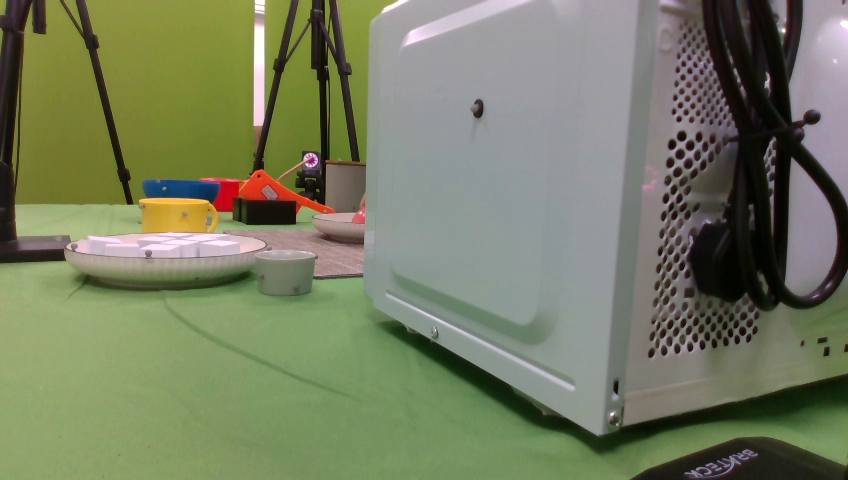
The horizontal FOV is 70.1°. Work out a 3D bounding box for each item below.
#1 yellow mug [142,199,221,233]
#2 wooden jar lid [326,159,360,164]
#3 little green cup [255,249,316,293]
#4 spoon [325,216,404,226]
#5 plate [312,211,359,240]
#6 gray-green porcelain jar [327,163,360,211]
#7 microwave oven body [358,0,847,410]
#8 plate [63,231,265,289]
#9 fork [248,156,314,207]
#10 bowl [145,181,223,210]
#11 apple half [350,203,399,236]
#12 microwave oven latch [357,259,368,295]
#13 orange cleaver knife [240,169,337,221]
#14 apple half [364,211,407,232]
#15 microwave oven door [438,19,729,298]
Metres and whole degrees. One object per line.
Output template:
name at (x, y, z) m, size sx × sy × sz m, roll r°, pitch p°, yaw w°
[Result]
yellow mug at (-0.373, -0.030, 0.948) m, size 0.099 × 0.064 × 0.131 m, roll 6°, pitch 8°, yaw 30°
wooden jar lid at (-0.185, -0.187, 1.481) m, size 0.108 × 0.020 × 0.108 m, roll 4°, pitch 6°, yaw 0°
little green cup at (-0.144, 0.031, 0.627) m, size 0.061 × 0.038 × 0.061 m, roll 2°, pitch 6°, yaw 0°
spoon at (-0.120, -0.043, 1.273) m, size 0.195 × 0.021 × 0.041 m, roll -4°, pitch -11°, yaw -39°
plate at (-0.091, -0.026, 1.062) m, size 0.209 × 0.038 × 0.209 m, roll 2°, pitch 7°, yaw 0°
gray-green porcelain jar at (-0.187, -0.125, 1.490) m, size 0.106 × 0.126 × 0.106 m, roll 2°, pitch 8°, yaw 0°
microwave oven body at (0.210, -0.051, 0.471) m, size 0.444 × 0.260 × 0.324 m, roll -1°, pitch 7°, yaw -28°
plate at (-0.288, 0.021, 0.687) m, size 0.208 × 0.039 × 0.207 m, roll 2°, pitch 8°, yaw 0°
fork at (-0.360, -0.147, 1.523) m, size 0.207 × 0.018 × 0.028 m, roll -43°, pitch 15°, yaw -7°
bowl at (-0.499, -0.081, 1.261) m, size 0.151 × 0.077 × 0.151 m, roll 2°, pitch 8°, yaw 0°
apple half at (-0.082, -0.036, 1.024) m, size 0.081 × 0.053 × 0.074 m, roll -3°, pitch 11°, yaw -34°
microwave oven latch at (-0.019, 0.031, 0.529) m, size 0.079 × 0.029 × 0.030 m, roll -1°, pitch 7°, yaw -27°
orange cleaver knife at (-0.286, -0.082, 1.299) m, size 0.212 × 0.077 × 0.012 m, roll 25°, pitch -2°, yaw -31°
apple half at (-0.068, -0.037, 1.103) m, size 0.081 × 0.033 × 0.081 m, roll -1°, pitch 10°, yaw 0°
microwave oven door at (0.181, -0.076, 0.618) m, size 0.358 × 0.243 × 0.039 m, roll -2°, pitch 8°, yaw -28°
